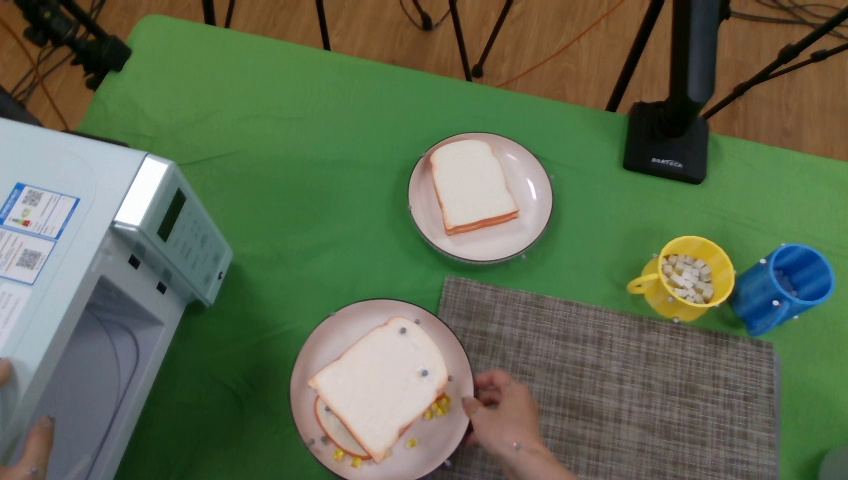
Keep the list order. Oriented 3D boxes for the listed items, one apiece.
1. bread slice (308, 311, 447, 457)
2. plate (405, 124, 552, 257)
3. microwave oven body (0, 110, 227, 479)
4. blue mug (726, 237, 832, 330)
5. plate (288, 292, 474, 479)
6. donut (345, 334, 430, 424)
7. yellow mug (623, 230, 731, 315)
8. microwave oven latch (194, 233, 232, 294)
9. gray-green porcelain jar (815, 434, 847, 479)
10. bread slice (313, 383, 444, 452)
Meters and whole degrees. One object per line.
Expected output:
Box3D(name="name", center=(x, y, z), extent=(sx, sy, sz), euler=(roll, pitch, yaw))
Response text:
Box3D(name="bread slice", center=(-0.042, 0.139, 0.637), extent=(0.107, 0.018, 0.134), euler=(46, 61, 2))
Box3D(name="plate", center=(0.077, -0.069, 0.865), extent=(0.208, 0.039, 0.206), euler=(1, 67, -2))
Box3D(name="microwave oven body", center=(-0.461, 0.114, 0.642), extent=(0.326, 0.262, 0.439), euler=(14, 68, 3))
Box3D(name="blue mug", center=(0.451, 0.067, 0.787), extent=(0.082, 0.106, 0.116), euler=(32, 70, 11))
Box3D(name="plate", center=(-0.048, 0.163, 0.690), extent=(0.209, 0.038, 0.207), euler=(3, 68, -7))
Box3D(name="donut", center=(-0.039, 0.152, 0.666), extent=(0.099, 0.048, 0.098), euler=(11, 61, -21))
Box3D(name="yellow mug", center=(0.333, 0.046, 0.812), extent=(0.131, 0.064, 0.099), euler=(-8, 67, -4))
Box3D(name="microwave oven latch", center=(-0.277, 0.029, 0.790), extent=(0.030, 0.030, 0.078), euler=(17, 68, 4))
Box3D(name="gray-green porcelain jar", center=(0.528, 0.272, 0.691), extent=(0.106, 0.127, 0.105), euler=(1, 67, -2))
Box3D(name="bread slice", center=(-0.056, 0.173, 0.687), extent=(0.104, 0.019, 0.131), euler=(44, 68, 12))
